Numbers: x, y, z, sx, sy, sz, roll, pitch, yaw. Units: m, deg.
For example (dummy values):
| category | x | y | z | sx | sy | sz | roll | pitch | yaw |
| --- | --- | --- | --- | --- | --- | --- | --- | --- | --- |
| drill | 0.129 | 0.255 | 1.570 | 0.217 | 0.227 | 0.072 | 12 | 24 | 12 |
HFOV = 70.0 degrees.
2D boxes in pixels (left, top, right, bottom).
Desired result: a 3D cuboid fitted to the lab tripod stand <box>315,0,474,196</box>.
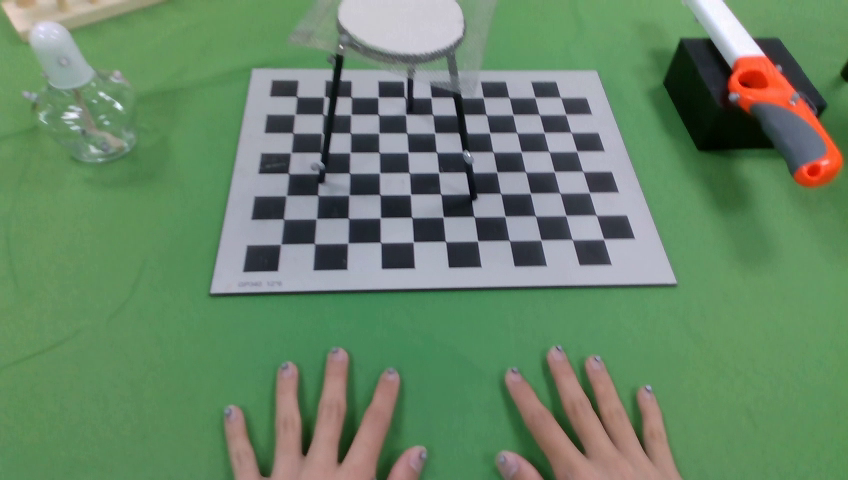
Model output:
| category | x | y | z | sx | sy | sz | roll | pitch | yaw |
| --- | --- | --- | --- | --- | --- | --- | --- | --- | --- |
| lab tripod stand | -0.016 | -0.110 | 0.468 | 0.148 | 0.132 | 0.147 | 3 | 51 | -3 |

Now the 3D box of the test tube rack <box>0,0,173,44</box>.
| category | x | y | z | sx | sy | sz | roll | pitch | yaw |
| --- | --- | --- | --- | --- | --- | --- | --- | --- | --- |
| test tube rack | -0.318 | -0.294 | 0.630 | 0.242 | 0.086 | 0.066 | -30 | 59 | -24 |

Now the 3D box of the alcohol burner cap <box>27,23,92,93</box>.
| category | x | y | z | sx | sy | sz | roll | pitch | yaw |
| --- | --- | --- | --- | --- | --- | --- | --- | --- | --- |
| alcohol burner cap | -0.274 | -0.137 | 0.450 | 0.034 | 0.048 | 0.033 | 0 | 52 | 1 |

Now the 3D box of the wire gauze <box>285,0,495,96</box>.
| category | x | y | z | sx | sy | sz | roll | pitch | yaw |
| --- | --- | --- | --- | --- | --- | --- | --- | --- | --- |
| wire gauze | -0.016 | -0.150 | 0.413 | 0.125 | 0.011 | 0.120 | 13 | 51 | 5 |

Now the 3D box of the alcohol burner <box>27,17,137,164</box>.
| category | x | y | z | sx | sy | sz | roll | pitch | yaw |
| --- | --- | --- | --- | --- | --- | --- | --- | --- | --- |
| alcohol burner | -0.274 | -0.119 | 0.475 | 0.078 | 0.120 | 0.077 | 1 | 52 | 0 |

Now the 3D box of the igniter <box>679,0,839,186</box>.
| category | x | y | z | sx | sy | sz | roll | pitch | yaw |
| --- | --- | --- | --- | --- | --- | --- | --- | --- | --- |
| igniter | 0.283 | -0.147 | 0.529 | 0.057 | 0.025 | 0.273 | -3 | 50 | -2 |
